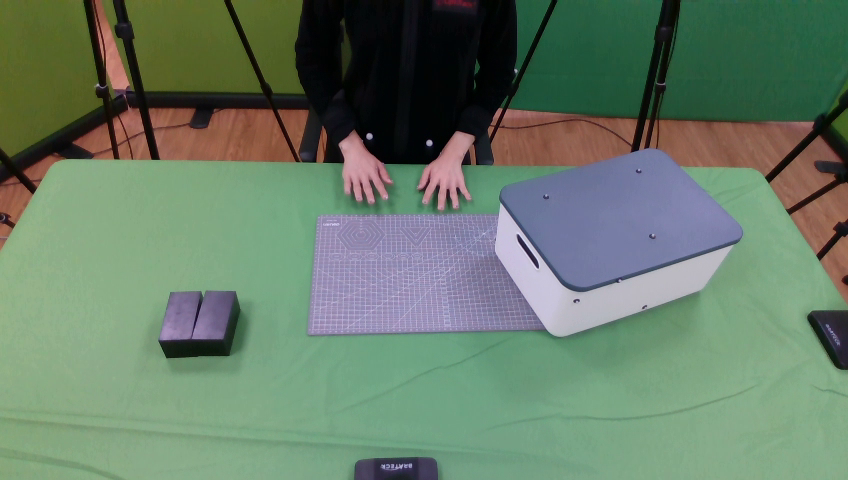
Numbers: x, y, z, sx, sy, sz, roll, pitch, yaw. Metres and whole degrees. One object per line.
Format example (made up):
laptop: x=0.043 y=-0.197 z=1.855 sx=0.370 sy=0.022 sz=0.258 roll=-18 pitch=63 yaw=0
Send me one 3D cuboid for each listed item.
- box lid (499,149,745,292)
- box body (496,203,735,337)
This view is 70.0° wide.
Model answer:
box lid: x=0.341 y=-0.048 z=1.064 sx=0.372 sy=0.015 sz=0.261 roll=-15 pitch=49 yaw=-18
box body: x=0.340 y=0.003 z=1.118 sx=0.364 sy=0.161 sz=0.252 roll=-15 pitch=49 yaw=-18
